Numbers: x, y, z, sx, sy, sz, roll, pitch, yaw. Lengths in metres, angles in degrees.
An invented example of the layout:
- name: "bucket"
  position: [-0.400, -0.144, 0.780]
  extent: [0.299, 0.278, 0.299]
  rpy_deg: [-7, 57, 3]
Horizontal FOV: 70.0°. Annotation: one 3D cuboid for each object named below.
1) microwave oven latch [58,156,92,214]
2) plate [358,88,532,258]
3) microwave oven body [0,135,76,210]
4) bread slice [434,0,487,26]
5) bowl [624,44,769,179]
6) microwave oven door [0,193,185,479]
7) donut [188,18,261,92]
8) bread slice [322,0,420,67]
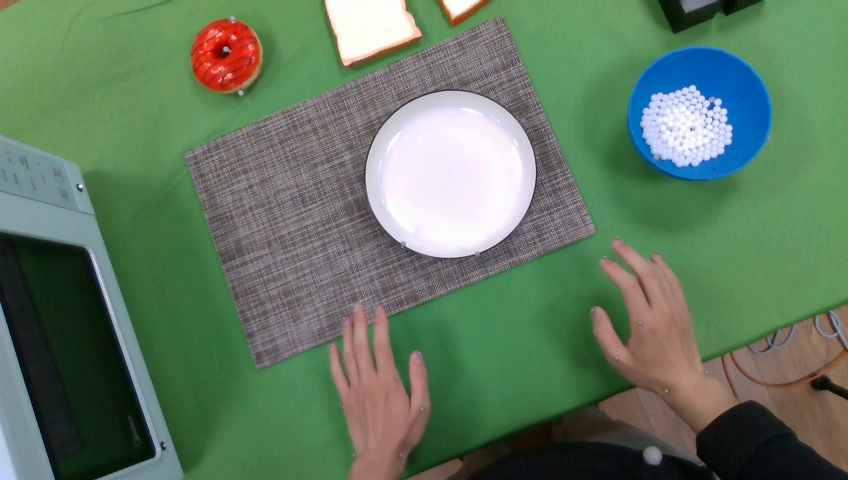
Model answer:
- name: "microwave oven latch"
  position: [-0.458, -0.067, 0.777]
  extent: [0.030, 0.029, 0.079]
  rpy_deg: [-24, 82, 3]
- name: "plate"
  position: [0.026, -0.079, 0.735]
  extent: [0.207, 0.039, 0.207]
  rpy_deg: [-1, 83, 7]
- name: "microwave oven body"
  position: [-0.536, 0.141, 0.665]
  extent: [0.326, 0.261, 0.440]
  rpy_deg: [-24, 82, 3]
- name: "bread slice"
  position: [0.039, -0.356, 0.780]
  extent: [0.105, 0.019, 0.131]
  rpy_deg: [-36, 82, 1]
- name: "bowl"
  position: [0.299, -0.135, 0.692]
  extent: [0.151, 0.077, 0.151]
  rpy_deg: [-1, 83, 7]
- name: "microwave oven door"
  position: [-0.387, 0.119, 0.645]
  extent: [0.039, 0.245, 0.354]
  rpy_deg: [-24, 81, 4]
- name: "donut"
  position: [-0.260, -0.241, 0.789]
  extent: [0.099, 0.048, 0.099]
  rpy_deg: [-1, 84, 9]
- name: "bread slice"
  position: [-0.079, -0.299, 0.787]
  extent: [0.107, 0.018, 0.134]
  rpy_deg: [-23, 82, 3]
